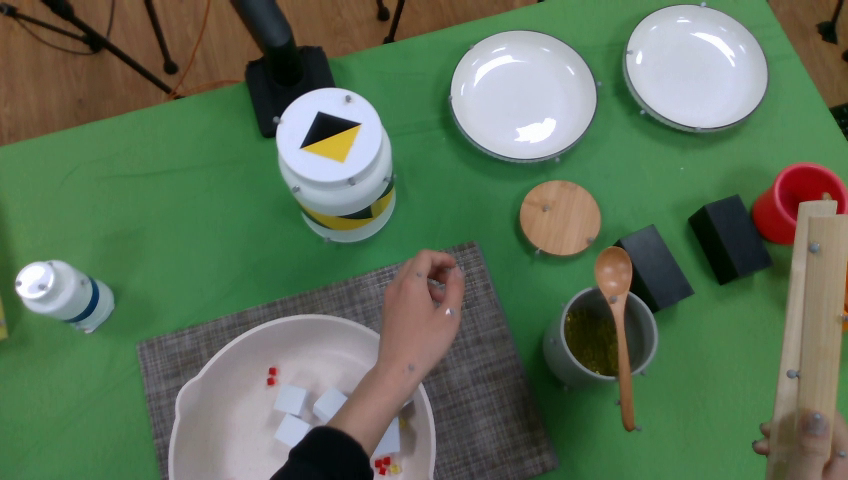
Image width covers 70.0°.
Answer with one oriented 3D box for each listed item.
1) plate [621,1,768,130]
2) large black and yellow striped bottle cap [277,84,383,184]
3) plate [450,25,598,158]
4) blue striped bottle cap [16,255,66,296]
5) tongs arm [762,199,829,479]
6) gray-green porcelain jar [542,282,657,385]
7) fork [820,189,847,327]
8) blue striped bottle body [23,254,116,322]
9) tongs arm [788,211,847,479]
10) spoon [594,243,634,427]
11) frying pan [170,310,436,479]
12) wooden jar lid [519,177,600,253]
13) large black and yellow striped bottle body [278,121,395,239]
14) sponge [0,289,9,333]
[{"bbox_3d":[0.387,-0.249,0.878,0.209,0.038,0.208,0,72,-1],"label":"plate"},{"bbox_3d":[-0.102,-0.118,0.663,0.115,0.019,0.114,0,74,-1],"label":"large black and yellow striped bottle cap"},{"bbox_3d":[0.139,-0.208,0.861,0.208,0.039,0.206,0,73,-1],"label":"plate"},{"bbox_3d":[-0.427,0.039,0.674,0.044,0.021,0.044,1,74,-1],"label":"blue striped bottle cap"},{"bbox_3d":[0.292,0.154,0.487,0.028,0.028,0.390,-5,110,7],"label":"tongs arm"},{"bbox_3d":[0.199,0.115,0.714,0.106,0.127,0.105,0,72,-1],"label":"gray-green porcelain jar"},{"bbox_3d":[0.501,0.025,0.735,0.028,0.018,0.209,-30,119,-2],"label":"fork"},{"bbox_3d":[-0.426,0.056,0.723,0.063,0.121,0.062,0,72,0],"label":"blue striped bottle body"},{"bbox_3d":[0.289,0.161,0.468,0.026,0.050,0.386,-3,105,11],"label":"tongs arm"},{"bbox_3d":[0.208,0.099,0.645,0.042,0.022,0.192,0,76,-5],"label":"spoon"},{"bbox_3d":[-0.173,0.313,0.652,0.306,0.103,0.485,23,65,7],"label":"frying pan"},{"bbox_3d":[0.182,-0.033,0.816,0.108,0.021,0.108,0,74,-1],"label":"wooden jar lid"},{"bbox_3d":[-0.104,-0.090,0.743,0.131,0.185,0.130,0,71,-1],"label":"large black and yellow striped bottle body"},{"bbox_3d":[-0.616,0.034,0.757,0.118,0.061,0.205,-21,75,-8],"label":"sponge"}]
